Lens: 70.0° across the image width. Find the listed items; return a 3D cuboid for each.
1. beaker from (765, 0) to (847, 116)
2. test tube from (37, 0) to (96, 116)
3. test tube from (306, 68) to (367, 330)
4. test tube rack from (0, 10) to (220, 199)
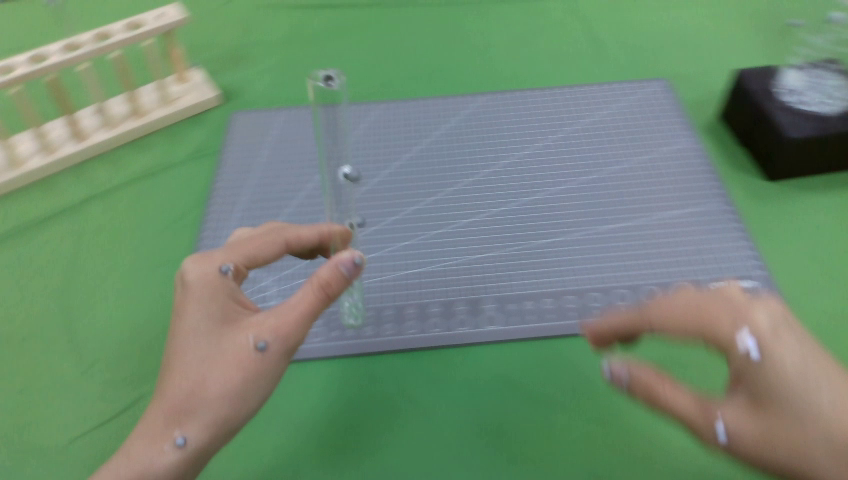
[{"bbox_3d":[0.327,-0.160,0.490,0.074,0.101,0.083,-26,51,-18],"label":"beaker"},{"bbox_3d":[-0.333,-0.184,0.561,0.017,0.151,0.017,-1,41,1],"label":"test tube"},{"bbox_3d":[-0.041,-0.010,0.298,0.017,0.152,0.017,-1,38,1],"label":"test tube"},{"bbox_3d":[-0.334,-0.130,0.581,0.242,0.086,0.066,-29,53,-21],"label":"test tube rack"}]
